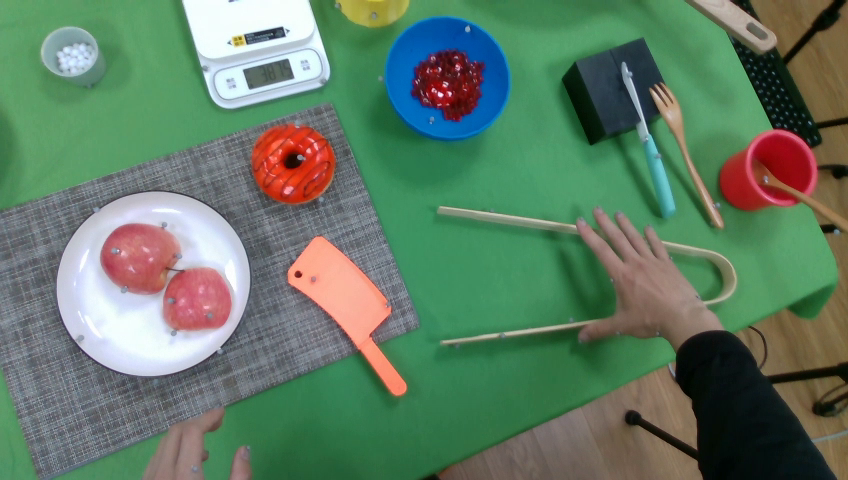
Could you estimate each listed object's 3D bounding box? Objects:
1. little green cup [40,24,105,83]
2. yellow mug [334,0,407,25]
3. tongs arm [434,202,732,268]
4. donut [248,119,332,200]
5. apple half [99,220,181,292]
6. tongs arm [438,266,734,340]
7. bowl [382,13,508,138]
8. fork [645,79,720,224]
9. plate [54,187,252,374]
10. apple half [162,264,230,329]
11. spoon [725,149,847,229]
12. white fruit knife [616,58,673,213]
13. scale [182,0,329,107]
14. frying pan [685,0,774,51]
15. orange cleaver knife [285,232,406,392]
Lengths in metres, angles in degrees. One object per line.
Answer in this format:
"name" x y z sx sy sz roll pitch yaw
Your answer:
"little green cup" -0.410 -0.216 0.712 0.061 0.038 0.061 1 81 -7
"yellow mug" -0.080 -0.341 0.759 0.131 0.064 0.100 36 79 0
"tongs arm" 0.203 -0.009 0.767 0.388 0.028 0.028 9 73 -6
"donut" -0.159 -0.096 0.721 0.099 0.048 0.099 1 83 -6
"apple half" -0.319 0.014 0.672 0.074 0.053 0.080 29 78 1
"tongs arm" 0.205 0.077 0.751 0.385 0.026 0.050 -5 78 -8
"bowl" 0.021 -0.189 0.745 0.152 0.077 0.151 1 82 -7
"fork" 0.337 -0.112 0.782 0.028 0.018 0.208 -31 102 -13
"plate" -0.300 0.045 0.686 0.209 0.038 0.208 1 82 -7
"apple half" -0.261 0.063 0.681 0.081 0.033 0.081 1 84 -5
"spoon" 0.454 -0.062 0.749 0.041 0.022 0.191 -27 42 -11
"white fruit knife" 0.278 -0.130 0.769 0.016 0.027 0.208 -24 100 -10
"scale" -0.214 -0.275 0.749 0.149 0.031 0.200 -17 85 -9
"frying pan" 0.246 -0.397 0.790 0.486 0.103 0.306 40 80 8
"orange cleaver knife" -0.080 0.084 0.718 0.077 0.012 0.211 -40 87 -17
